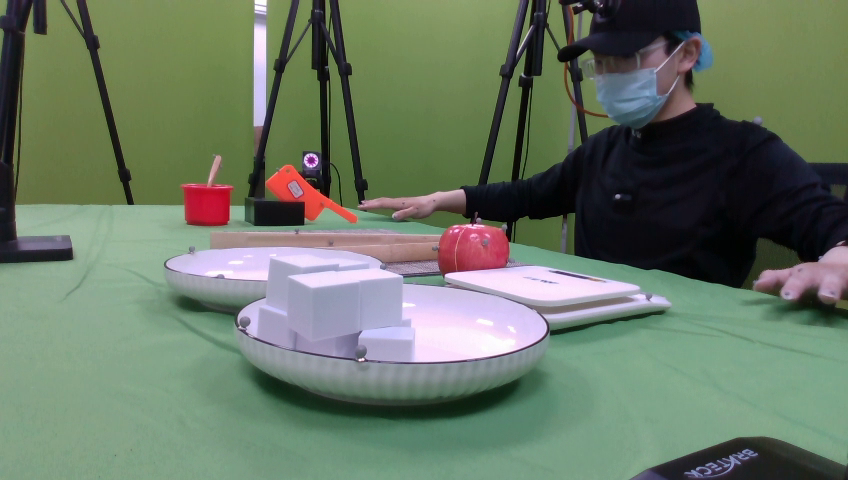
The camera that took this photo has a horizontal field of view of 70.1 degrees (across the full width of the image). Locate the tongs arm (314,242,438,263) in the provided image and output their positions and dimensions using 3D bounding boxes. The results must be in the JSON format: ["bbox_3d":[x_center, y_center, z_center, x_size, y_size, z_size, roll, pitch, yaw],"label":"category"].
[{"bbox_3d":[-0.070,0.017,0.800,0.390,0.028,0.028,-2,4,-34],"label":"tongs arm"}]

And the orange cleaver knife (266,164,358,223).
[{"bbox_3d":[-0.238,-0.082,1.295,0.212,0.077,0.012,35,-9,-26],"label":"orange cleaver knife"}]

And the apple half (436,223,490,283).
[{"bbox_3d":[0.045,0.017,0.691,0.081,0.074,0.053,-9,10,-41],"label":"apple half"}]

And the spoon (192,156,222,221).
[{"bbox_3d":[-0.430,-0.108,1.222,0.041,0.021,0.193,-1,52,0],"label":"spoon"}]

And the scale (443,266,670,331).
[{"bbox_3d":[0.131,0.052,0.602,0.202,0.031,0.148,-2,9,-37],"label":"scale"}]

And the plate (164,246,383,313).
[{"bbox_3d":[-0.145,0.038,0.600,0.209,0.038,0.209,2,7,0],"label":"plate"}]

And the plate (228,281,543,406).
[{"bbox_3d":[-0.025,0.067,0.413,0.208,0.039,0.207,3,7,0],"label":"plate"}]

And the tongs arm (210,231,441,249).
[{"bbox_3d":[-0.106,0.004,0.876,0.386,0.026,0.050,0,7,-20],"label":"tongs arm"}]

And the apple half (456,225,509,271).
[{"bbox_3d":[0.071,0.021,0.662,0.082,0.081,0.032,-4,7,-42],"label":"apple half"}]
